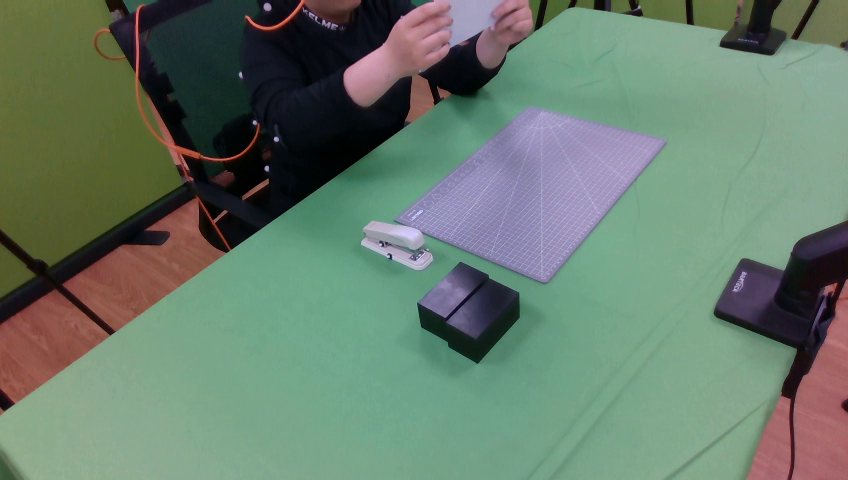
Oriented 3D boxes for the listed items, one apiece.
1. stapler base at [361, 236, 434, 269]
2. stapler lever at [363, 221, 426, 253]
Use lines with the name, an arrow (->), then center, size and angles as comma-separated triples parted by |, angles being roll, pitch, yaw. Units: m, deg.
stapler base -> -0.044, 0.009, 0.974 | 0.129, 0.024, 0.041 | 21, 46, 32
stapler lever -> -0.049, -0.011, 0.958 | 0.117, 0.040, 0.027 | 20, 46, 32
